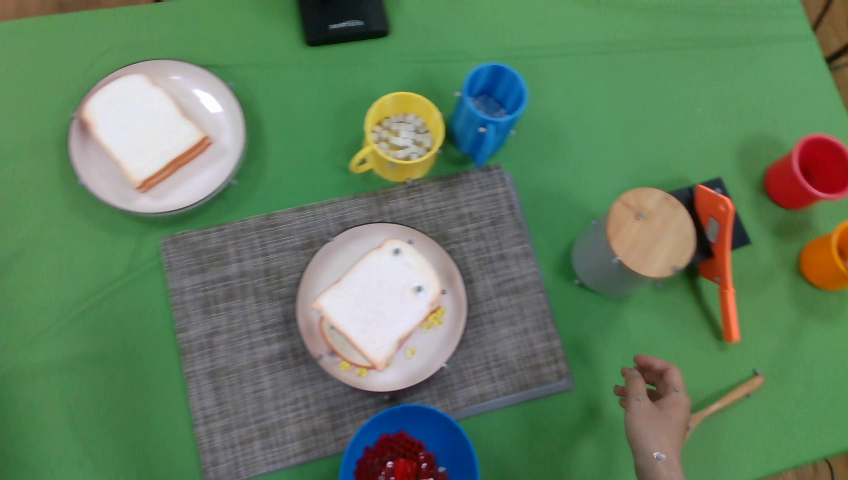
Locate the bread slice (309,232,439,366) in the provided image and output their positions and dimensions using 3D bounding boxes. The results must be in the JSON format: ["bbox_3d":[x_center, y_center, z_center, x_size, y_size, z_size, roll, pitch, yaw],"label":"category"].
[{"bbox_3d":[-0.049,0.056,0.683,0.107,0.018,0.134,41,67,-3],"label":"bread slice"}]

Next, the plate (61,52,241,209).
[{"bbox_3d":[-0.334,-0.134,0.757,0.208,0.039,0.206,2,75,-8],"label":"plate"}]

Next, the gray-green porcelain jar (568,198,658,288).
[{"bbox_3d":[0.246,0.001,0.760,0.106,0.127,0.105,2,75,-8],"label":"gray-green porcelain jar"}]

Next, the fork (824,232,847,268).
[{"bbox_3d":[0.544,0.034,0.783,0.028,0.018,0.207,49,30,0],"label":"fork"}]

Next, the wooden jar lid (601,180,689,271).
[{"bbox_3d":[0.253,-0.016,0.700,0.109,0.021,0.108,3,77,-10],"label":"wooden jar lid"}]

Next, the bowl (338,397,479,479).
[{"bbox_3d":[-0.020,0.253,0.679,0.152,0.077,0.150,2,75,-8],"label":"bowl"}]

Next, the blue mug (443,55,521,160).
[{"bbox_3d":[0.071,-0.162,0.789,0.082,0.106,0.116,7,74,-6],"label":"blue mug"}]

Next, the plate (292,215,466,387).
[{"bbox_3d":[-0.054,0.073,0.739,0.209,0.038,0.208,2,75,-8],"label":"plate"}]

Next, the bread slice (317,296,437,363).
[{"bbox_3d":[-0.062,0.084,0.737,0.104,0.019,0.131,41,72,4],"label":"bread slice"}]

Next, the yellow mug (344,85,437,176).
[{"bbox_3d":[-0.048,-0.133,0.784,0.131,0.064,0.099,-34,82,-14],"label":"yellow mug"}]

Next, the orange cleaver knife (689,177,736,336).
[{"bbox_3d":[0.378,0.022,0.797,0.012,0.076,0.212,-15,104,-11],"label":"orange cleaver knife"}]

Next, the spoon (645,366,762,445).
[{"bbox_3d":[0.363,0.207,0.776,0.194,0.022,0.041,-24,63,-13],"label":"spoon"}]
